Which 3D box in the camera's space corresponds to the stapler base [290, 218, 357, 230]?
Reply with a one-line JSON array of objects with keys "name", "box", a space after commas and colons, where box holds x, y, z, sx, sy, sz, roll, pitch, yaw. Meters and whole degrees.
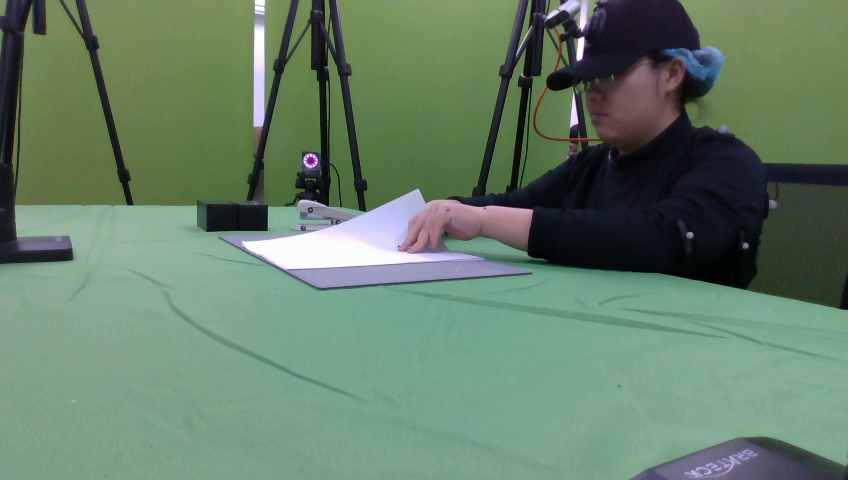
[{"name": "stapler base", "box": [-0.199, -0.033, 1.201, 0.131, 0.024, 0.041, 2, 9, -25]}]

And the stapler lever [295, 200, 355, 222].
[{"name": "stapler lever", "box": [-0.196, -0.058, 1.199, 0.118, 0.040, 0.026, 2, 9, -25]}]
